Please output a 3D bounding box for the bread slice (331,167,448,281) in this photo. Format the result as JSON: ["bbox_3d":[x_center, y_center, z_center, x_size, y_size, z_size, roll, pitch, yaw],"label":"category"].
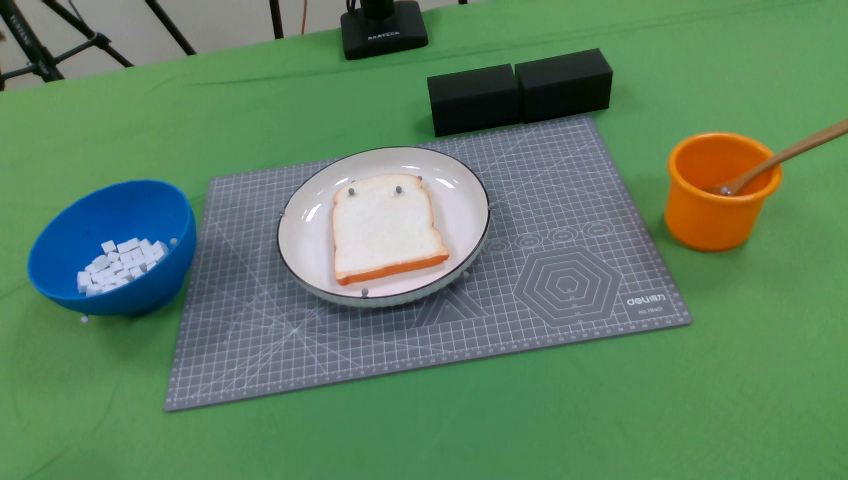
[{"bbox_3d":[-0.044,-0.021,0.603,0.107,0.018,0.133,-15,49,-3],"label":"bread slice"}]

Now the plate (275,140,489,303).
[{"bbox_3d":[-0.040,-0.019,0.597,0.209,0.038,0.207,-5,48,6],"label":"plate"}]

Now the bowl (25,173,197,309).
[{"bbox_3d":[-0.283,0.014,0.583,0.151,0.077,0.150,-5,48,5],"label":"bowl"}]

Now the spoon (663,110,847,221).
[{"bbox_3d":[0.293,-0.067,0.515,0.022,0.194,0.041,29,47,-24],"label":"spoon"}]
